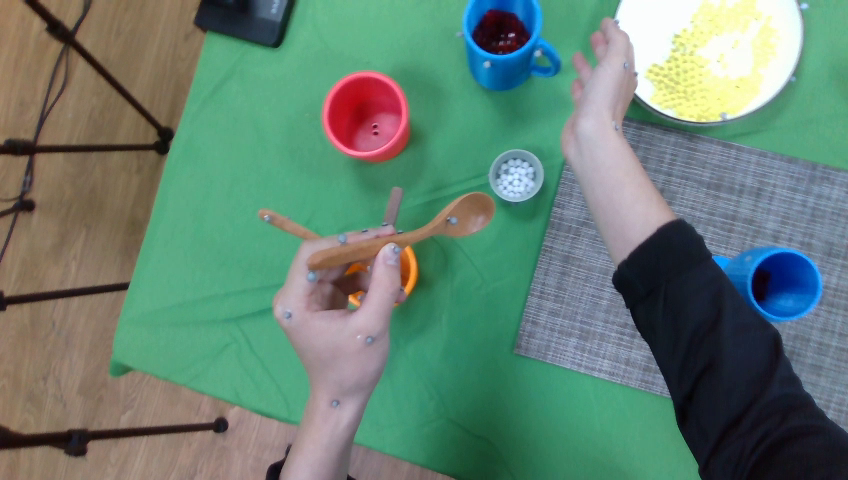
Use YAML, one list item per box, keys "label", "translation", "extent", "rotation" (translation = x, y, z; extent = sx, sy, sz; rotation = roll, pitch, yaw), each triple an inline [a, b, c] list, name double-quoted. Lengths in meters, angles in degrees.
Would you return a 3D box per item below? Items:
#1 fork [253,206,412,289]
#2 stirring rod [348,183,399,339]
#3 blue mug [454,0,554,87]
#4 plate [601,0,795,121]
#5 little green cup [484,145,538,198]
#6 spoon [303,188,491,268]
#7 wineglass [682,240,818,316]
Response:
- label: "fork"
  translation: [-0.095, 0.010, 0.671]
  extent: [0.209, 0.018, 0.028]
  rotation: [28, 99, -36]
- label: "stirring rod"
  translation: [-0.055, 0.023, 0.664]
  extent: [0.014, 0.006, 0.176]
  rotation: [14, 89, 8]
- label: "blue mug"
  translation: [0.093, -0.222, 0.683]
  extent: [0.116, 0.106, 0.082]
  rotation: [28, 90, 7]
- label: "plate"
  translation: [0.308, -0.237, 0.695]
  extent: [0.209, 0.038, 0.209]
  rotation: [0, 88, 6]
- label: "little green cup"
  translation: [0.102, -0.077, 0.710]
  extent: [0.061, 0.039, 0.061]
  rotation: [0, 88, 7]
- label: "spoon"
  translation: [-0.009, -0.007, 0.434]
  extent: [0.021, 0.194, 0.042]
  rotation: [34, 121, 25]
- label: "wineglass"
  translation: [0.319, 0.038, 0.610]
  extent: [0.073, 0.172, 0.073]
  rotation: [0, 87, 7]
